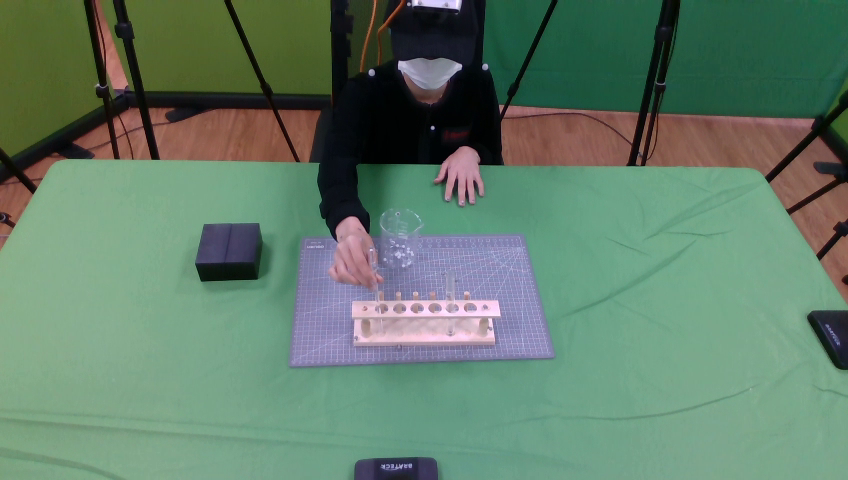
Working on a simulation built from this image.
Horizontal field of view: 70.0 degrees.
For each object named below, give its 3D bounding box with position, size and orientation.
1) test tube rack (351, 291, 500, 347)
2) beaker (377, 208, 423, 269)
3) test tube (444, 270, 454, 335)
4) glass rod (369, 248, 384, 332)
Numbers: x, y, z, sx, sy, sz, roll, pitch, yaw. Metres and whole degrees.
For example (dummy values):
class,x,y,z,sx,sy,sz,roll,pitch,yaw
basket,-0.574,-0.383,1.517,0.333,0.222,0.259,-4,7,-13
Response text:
class,x,y,z,sx,sy,sz,roll,pitch,yaw
test tube rack,0.000,0.129,1.026,0.242,0.085,0.066,0,46,-4
beaker,-0.046,0.000,1.138,0.084,0.101,0.073,3,46,-3
test tube,0.042,0.105,0.983,0.017,0.151,0.017,-1,44,1
glass rod,-0.074,0.084,0.955,0.008,0.201,0.008,-2,45,2
